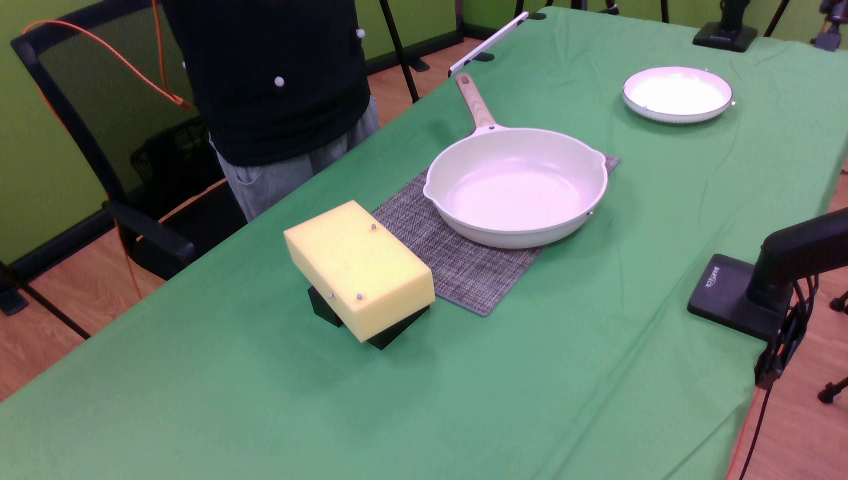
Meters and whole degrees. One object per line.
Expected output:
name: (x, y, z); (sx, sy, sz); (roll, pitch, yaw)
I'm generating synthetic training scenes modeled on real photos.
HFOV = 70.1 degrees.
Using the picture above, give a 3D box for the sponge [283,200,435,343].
sponge: (-0.094, 0.036, 0.835); (0.119, 0.061, 0.205); (-29, 45, -23)

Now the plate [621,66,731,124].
plate: (0.503, -0.288, 1.221); (0.207, 0.039, 0.206); (-4, 41, 4)

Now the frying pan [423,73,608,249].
frying pan: (0.130, -0.161, 1.069); (0.307, 0.103, 0.484); (-10, 49, -6)
